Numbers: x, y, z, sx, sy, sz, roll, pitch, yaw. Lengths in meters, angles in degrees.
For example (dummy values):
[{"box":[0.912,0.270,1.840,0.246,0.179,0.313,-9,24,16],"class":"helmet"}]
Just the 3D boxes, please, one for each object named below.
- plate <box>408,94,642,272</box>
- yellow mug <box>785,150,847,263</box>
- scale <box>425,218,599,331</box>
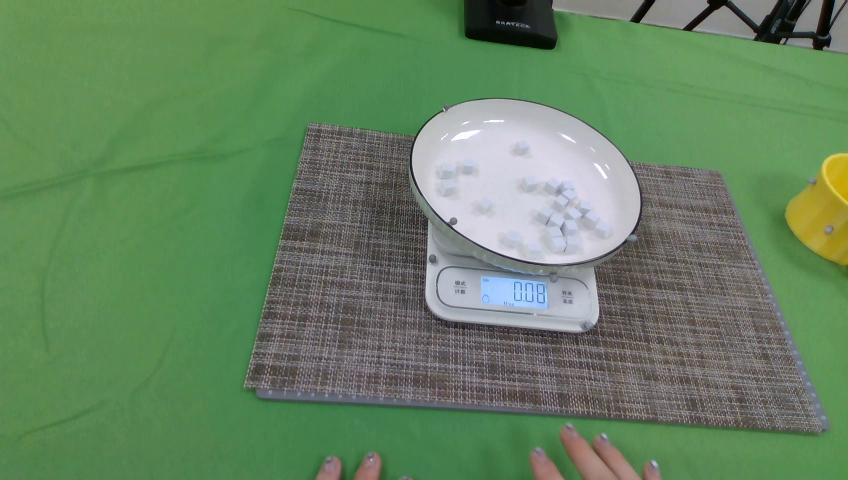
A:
[{"box":[0.087,-0.052,0.541,0.209,0.038,0.207,5,50,-6],"class":"plate"},{"box":[0.434,-0.022,0.604,0.100,0.064,0.129,5,51,-6],"class":"yellow mug"},{"box":[0.078,-0.014,0.551,0.149,0.032,0.199,6,50,-5],"class":"scale"}]
